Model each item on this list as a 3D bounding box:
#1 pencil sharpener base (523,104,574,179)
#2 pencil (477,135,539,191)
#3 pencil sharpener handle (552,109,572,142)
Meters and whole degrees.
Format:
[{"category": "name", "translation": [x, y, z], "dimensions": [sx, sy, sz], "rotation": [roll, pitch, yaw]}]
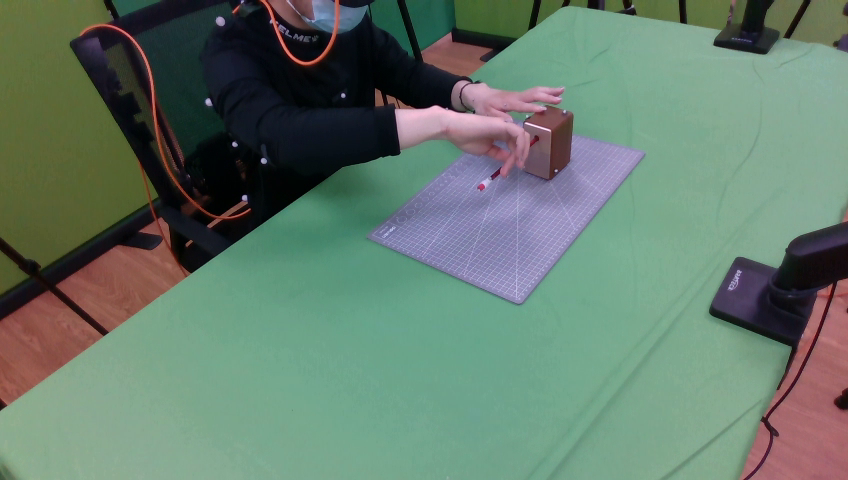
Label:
[{"category": "pencil sharpener base", "translation": [0.221, -0.175, 1.071], "dimensions": [0.061, 0.107, 0.077], "rotation": [25, 50, 33]}, {"category": "pencil", "translation": [0.147, -0.135, 0.995], "dimensions": [0.012, 0.012, 0.194], "rotation": [25, 51, 32]}, {"category": "pencil sharpener handle", "translation": [0.253, -0.211, 1.090], "dimensions": [0.035, 0.068, 0.031], "rotation": [22, 48, 36]}]
